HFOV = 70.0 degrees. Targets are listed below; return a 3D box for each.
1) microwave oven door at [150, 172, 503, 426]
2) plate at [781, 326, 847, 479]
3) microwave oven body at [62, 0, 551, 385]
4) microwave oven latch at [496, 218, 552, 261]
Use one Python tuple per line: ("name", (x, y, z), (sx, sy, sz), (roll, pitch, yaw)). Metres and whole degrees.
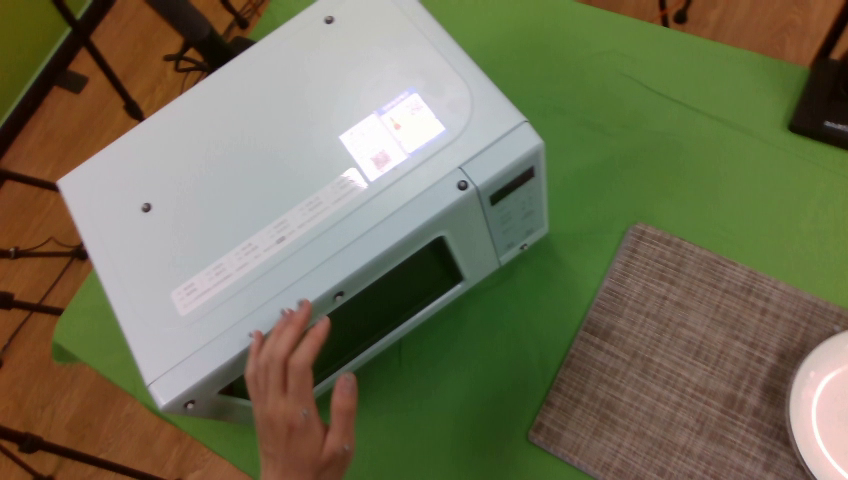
("microwave oven door", (-0.078, 0.081, 0.665), (0.356, 0.246, 0.039), (-35, 66, -2))
("plate", (0.483, 0.191, 0.629), (0.207, 0.039, 0.206), (-4, 70, 11))
("microwave oven body", (-0.121, -0.050, 0.727), (0.442, 0.262, 0.323), (-35, 67, -1))
("microwave oven latch", (0.124, -0.008, 0.764), (0.079, 0.030, 0.030), (-33, 67, 0))
